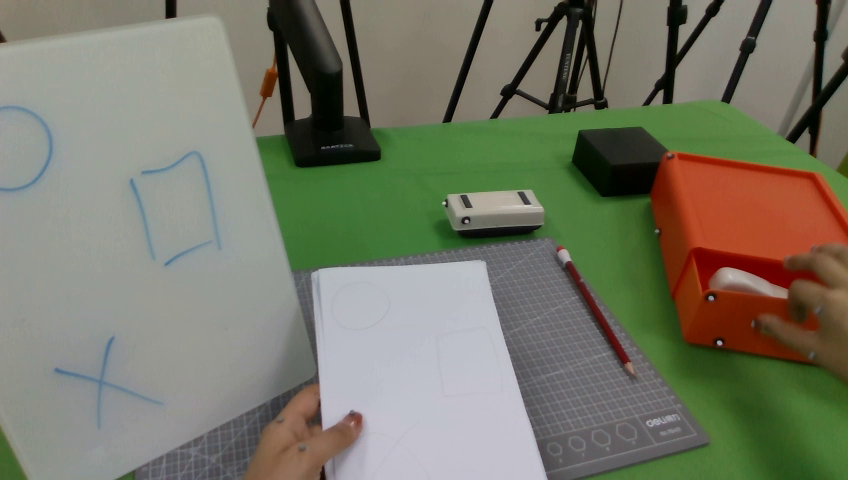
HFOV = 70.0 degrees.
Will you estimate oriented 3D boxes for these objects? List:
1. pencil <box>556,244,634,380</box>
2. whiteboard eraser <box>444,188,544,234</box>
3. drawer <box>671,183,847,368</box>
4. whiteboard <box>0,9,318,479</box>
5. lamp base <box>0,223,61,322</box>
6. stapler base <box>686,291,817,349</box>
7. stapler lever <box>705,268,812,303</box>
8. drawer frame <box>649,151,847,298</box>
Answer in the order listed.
[{"bbox_3d":[0.175,0.068,0.628,0.012,0.012,0.192,-4,40,-11],"label":"pencil"},{"bbox_3d":[0.084,-0.034,0.730,0.113,0.042,0.055,-3,38,-12],"label":"whiteboard eraser"},{"bbox_3d":[0.368,0.029,0.649,0.194,0.074,0.210,9,37,6],"label":"drawer"},{"bbox_3d":[-0.239,0.001,0.469,0.217,0.307,0.142,-23,26,-31],"label":"whiteboard"},{"bbox_3d":[-0.445,-0.029,0.538,0.178,0.182,0.160,16,38,18],"label":"lamp base"},{"bbox_3d":[0.337,0.075,0.618,0.130,0.024,0.041,16,36,0],"label":"stapler base"},{"bbox_3d":[0.342,0.058,0.607,0.118,0.040,0.026,12,36,3],"label":"stapler lever"},{"bbox_3d":[0.379,-0.009,0.699,0.201,0.083,0.212,9,36,5],"label":"drawer frame"}]
